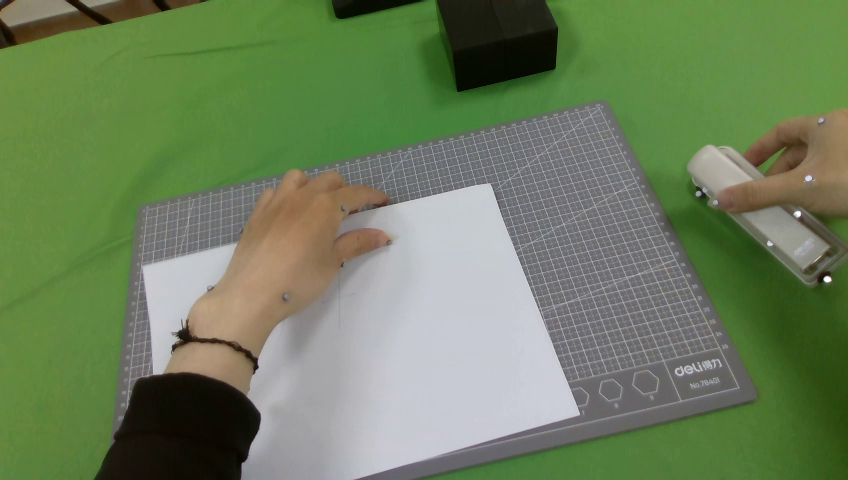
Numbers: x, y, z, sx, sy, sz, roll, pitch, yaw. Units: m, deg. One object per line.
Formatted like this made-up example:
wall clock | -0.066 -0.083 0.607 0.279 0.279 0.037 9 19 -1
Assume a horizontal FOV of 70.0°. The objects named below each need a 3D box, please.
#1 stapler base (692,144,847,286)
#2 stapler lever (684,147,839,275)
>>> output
stapler base | 0.255 -0.024 0.459 0.024 0.041 0.129 1 42 -46
stapler lever | 0.240 -0.025 0.441 0.040 0.027 0.117 3 41 -45
